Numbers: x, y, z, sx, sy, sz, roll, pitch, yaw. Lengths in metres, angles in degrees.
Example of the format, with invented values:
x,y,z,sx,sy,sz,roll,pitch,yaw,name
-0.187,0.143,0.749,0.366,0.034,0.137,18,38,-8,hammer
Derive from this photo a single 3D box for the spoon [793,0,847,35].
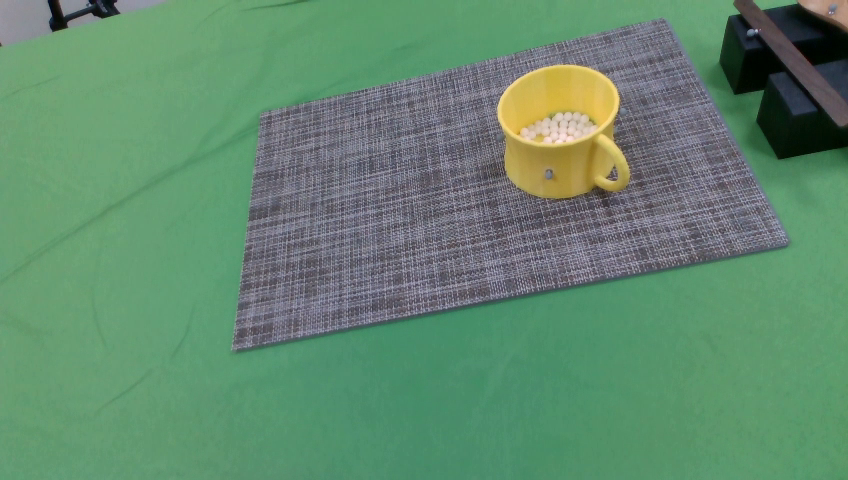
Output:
x,y,z,sx,sy,sz,roll,pitch,yaw,name
0.345,-0.162,0.487,0.041,0.022,0.191,-10,55,5,spoon

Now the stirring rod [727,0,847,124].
x,y,z,sx,sy,sz,roll,pitch,yaw,name
0.295,-0.157,0.499,0.014,0.006,0.174,-41,44,33,stirring rod

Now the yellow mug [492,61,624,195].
x,y,z,sx,sy,sz,roll,pitch,yaw,name
0.122,-0.089,0.521,0.100,0.064,0.129,-37,55,-12,yellow mug
